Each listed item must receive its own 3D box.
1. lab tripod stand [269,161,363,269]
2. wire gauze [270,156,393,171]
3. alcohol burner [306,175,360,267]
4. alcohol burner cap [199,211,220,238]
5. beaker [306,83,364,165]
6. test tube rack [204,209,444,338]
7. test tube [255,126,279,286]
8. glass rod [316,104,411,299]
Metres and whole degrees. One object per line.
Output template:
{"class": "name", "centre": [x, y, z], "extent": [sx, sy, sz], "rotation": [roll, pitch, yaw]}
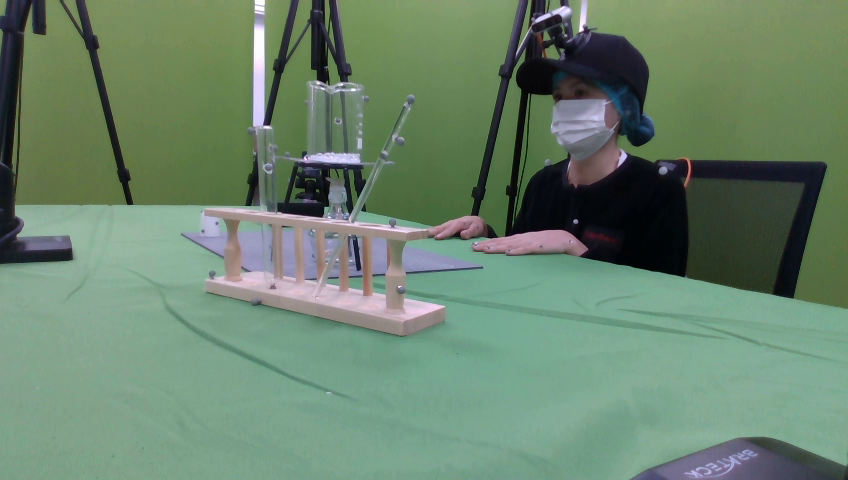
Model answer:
{"class": "lab tripod stand", "centre": [-0.125, -0.036, 0.794], "extent": [0.148, 0.131, 0.148], "rotation": [5, 7, 0]}
{"class": "wire gauze", "centre": [-0.122, -0.100, 0.786], "extent": [0.122, 0.011, 0.124], "rotation": [-5, 14, -38]}
{"class": "alcohol burner", "centre": [-0.115, -0.025, 0.791], "extent": [0.078, 0.119, 0.078], "rotation": [1, 8, 0]}
{"class": "alcohol burner cap", "centre": [-0.356, -0.027, 1.002], "extent": [0.034, 0.048, 0.034], "rotation": [3, 7, 0]}
{"class": "beaker", "centre": [-0.115, -0.147, 0.775], "extent": [0.074, 0.100, 0.084], "rotation": [2, 8, -2]}
{"class": "test tube rack", "centre": [-0.100, 0.021, 0.565], "extent": [0.241, 0.085, 0.067], "rotation": [7, 9, 32]}
{"class": "test tube", "centre": [-0.147, -0.031, 0.566], "extent": [0.017, 0.150, 0.017], "rotation": [-1, 8, 0]}
{"class": "glass rod", "centre": [-0.054, -0.026, 0.516], "extent": [0.008, 0.199, 0.008], "rotation": [23, 24, -11]}
